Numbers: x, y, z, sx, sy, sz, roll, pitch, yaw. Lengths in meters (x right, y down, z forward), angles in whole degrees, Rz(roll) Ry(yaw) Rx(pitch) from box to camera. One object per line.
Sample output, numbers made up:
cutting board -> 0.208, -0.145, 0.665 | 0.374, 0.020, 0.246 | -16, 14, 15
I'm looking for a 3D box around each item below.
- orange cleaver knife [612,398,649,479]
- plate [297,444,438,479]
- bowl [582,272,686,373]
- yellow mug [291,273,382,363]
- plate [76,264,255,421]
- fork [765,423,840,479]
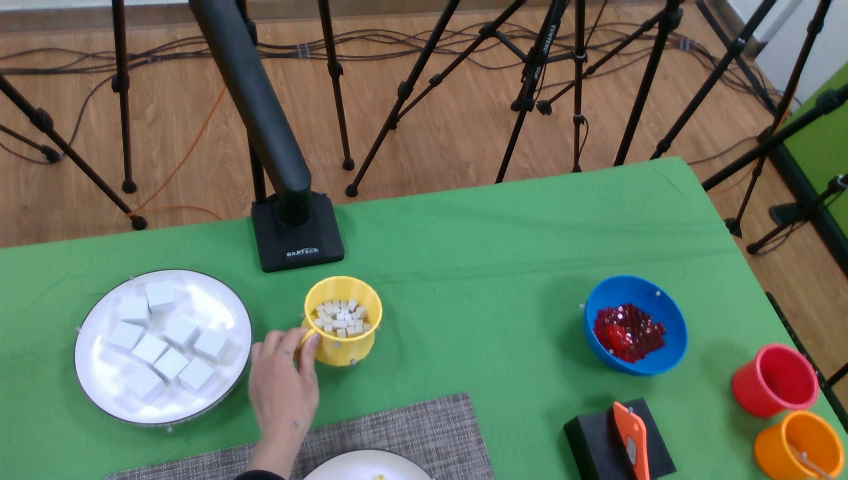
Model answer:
orange cleaver knife -> 0.273, 0.309, 0.770 | 0.012, 0.077, 0.211 | -9, 85, -13
plate -> -0.067, 0.343, 0.694 | 0.210, 0.038, 0.207 | 6, 59, -10
bowl -> 0.293, 0.130, 0.884 | 0.152, 0.077, 0.150 | 6, 59, -9
yellow mug -> -0.120, 0.109, 0.784 | 0.099, 0.064, 0.131 | 40, 51, 16
plate -> -0.322, 0.129, 0.771 | 0.208, 0.039, 0.205 | 6, 58, -9
fork -> 0.518, 0.303, 0.788 | 0.028, 0.019, 0.206 | 3, 15, -9
